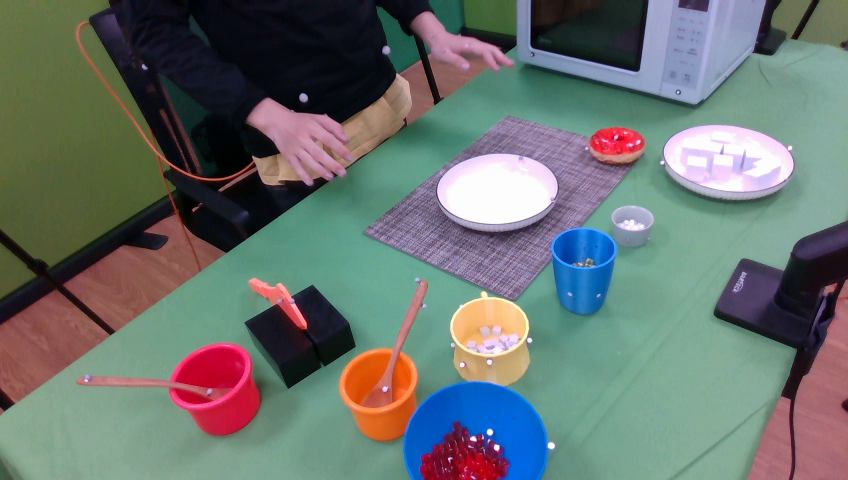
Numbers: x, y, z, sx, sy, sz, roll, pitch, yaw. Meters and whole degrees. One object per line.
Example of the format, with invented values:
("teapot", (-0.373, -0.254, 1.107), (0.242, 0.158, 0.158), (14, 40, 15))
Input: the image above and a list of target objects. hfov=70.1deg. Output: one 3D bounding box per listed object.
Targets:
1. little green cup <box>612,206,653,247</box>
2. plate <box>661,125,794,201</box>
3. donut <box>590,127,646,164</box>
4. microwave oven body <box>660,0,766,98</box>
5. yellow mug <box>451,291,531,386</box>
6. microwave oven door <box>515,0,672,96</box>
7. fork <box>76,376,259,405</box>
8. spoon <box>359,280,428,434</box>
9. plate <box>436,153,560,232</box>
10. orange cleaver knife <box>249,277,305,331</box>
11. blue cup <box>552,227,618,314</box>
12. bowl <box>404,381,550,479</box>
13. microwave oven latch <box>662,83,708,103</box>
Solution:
("little green cup", (0.321, -0.019, 0.936), (0.061, 0.039, 0.061), (-4, 41, 4))
("plate", (0.513, -0.128, 1.035), (0.207, 0.039, 0.206), (-4, 40, 4))
("donut", (0.353, -0.174, 1.103), (0.099, 0.048, 0.098), (-4, 38, 4))
("microwave oven body", (0.472, -0.513, 1.317), (0.438, 0.261, 0.327), (26, 51, 34))
("yellow mug", (0.085, 0.120, 0.786), (0.100, 0.064, 0.130), (-7, 39, 1))
("microwave oven door", (0.343, -0.455, 1.259), (0.353, 0.245, 0.039), (26, 51, 33))
("fork", (-0.295, 0.176, 0.716), (0.209, 0.018, 0.028), (19, 27, -36))
("spoon", (-0.032, 0.138, 0.719), (0.041, 0.193, 0.022), (22, 4, 30))
("plate", (0.125, -0.078, 1.029), (0.209, 0.038, 0.208), (-4, 40, 4))
("orange cleaver knife", (-0.210, 0.088, 0.856), (0.012, 0.077, 0.210), (-28, 15, -25))
("blue cup", (0.217, 0.047, 0.825), (0.092, 0.100, 0.092), (-6, 40, 5))
("bowl", (0.058, 0.235, 0.645), (0.151, 0.077, 0.150), (-4, 39, 4))
("microwave oven latch", (0.517, -0.296, 1.204), (0.078, 0.029, 0.030), (27, 52, 35))
